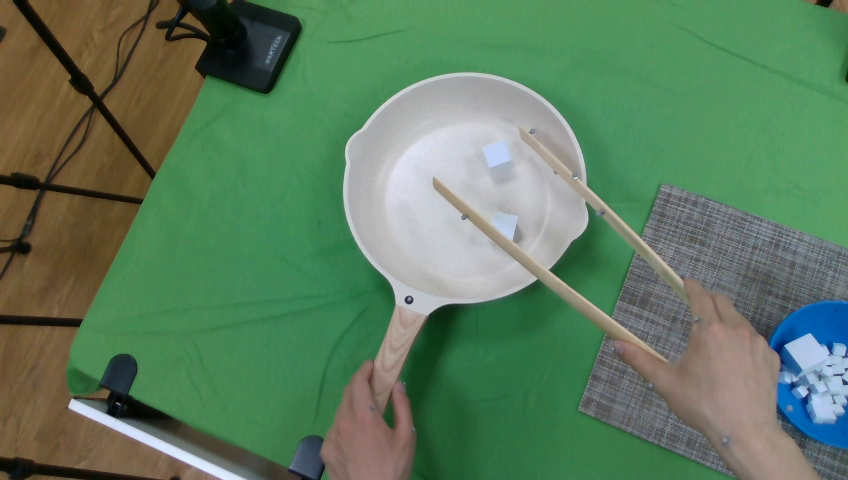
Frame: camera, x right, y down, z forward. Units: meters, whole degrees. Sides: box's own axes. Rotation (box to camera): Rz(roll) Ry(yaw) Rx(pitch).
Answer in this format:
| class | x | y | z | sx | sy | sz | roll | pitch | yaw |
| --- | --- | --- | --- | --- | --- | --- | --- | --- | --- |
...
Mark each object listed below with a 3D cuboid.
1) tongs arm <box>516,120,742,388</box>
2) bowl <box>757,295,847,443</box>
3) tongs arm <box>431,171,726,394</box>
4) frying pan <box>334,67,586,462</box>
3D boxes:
| class | x | y | z | sx | sy | sz | roll | pitch | yaw |
| --- | --- | --- | --- | --- | --- | --- | --- | --- | --- |
| tongs arm | 0.187 | -0.010 | 0.634 | 0.051 | 0.027 | 0.380 | -29 | 52 | -10 |
| bowl | 0.429 | 0.139 | 0.656 | 0.151 | 0.077 | 0.150 | -1 | 77 | 6 |
| tongs arm | 0.129 | 0.027 | 0.622 | 0.028 | 0.028 | 0.383 | -35 | 52 | -18 |
| frying pan | 0.005 | 0.022 | 0.717 | 0.306 | 0.103 | 0.486 | 21 | 71 | 11 |
